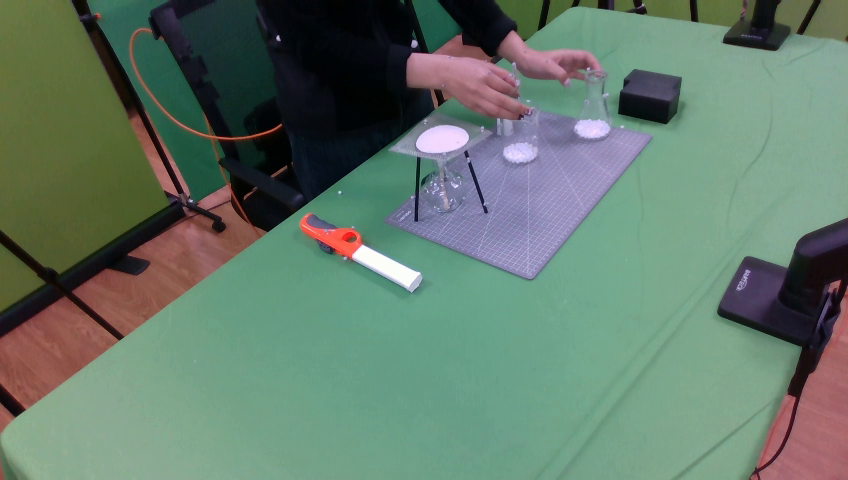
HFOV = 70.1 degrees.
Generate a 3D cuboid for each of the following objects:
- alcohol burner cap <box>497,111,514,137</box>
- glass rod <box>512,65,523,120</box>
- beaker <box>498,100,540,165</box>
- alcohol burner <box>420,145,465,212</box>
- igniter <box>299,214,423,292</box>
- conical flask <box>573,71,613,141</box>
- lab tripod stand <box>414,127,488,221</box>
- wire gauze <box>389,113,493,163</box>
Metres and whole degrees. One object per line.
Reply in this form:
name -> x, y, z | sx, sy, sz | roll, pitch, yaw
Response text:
alcohol burner cap -> 0.163, -0.235, 1.211 | 0.034, 0.048, 0.033 | -6, 40, 5
glass rod -> 0.161, -0.248, 1.035 | 0.008, 0.200, 0.008 | -3, 77, 12
beaker -> 0.180, -0.196, 1.117 | 0.074, 0.101, 0.083 | -25, 43, -17
alcohol burner -> 0.030, -0.108, 1.030 | 0.078, 0.119, 0.077 | -5, 38, 4
igniter -> -0.112, 0.016, 0.983 | 0.274, 0.025, 0.057 | 26, 62, 35
conical flask -> 0.321, -0.256, 1.142 | 0.075, 0.122, 0.075 | -5, 40, 5
lab tripod stand -> 0.035, -0.114, 1.021 | 0.148, 0.132, 0.147 | -7, 39, 6
wire gauze -> 0.026, -0.164, 0.977 | 0.120, 0.011, 0.125 | 23, 49, 35
